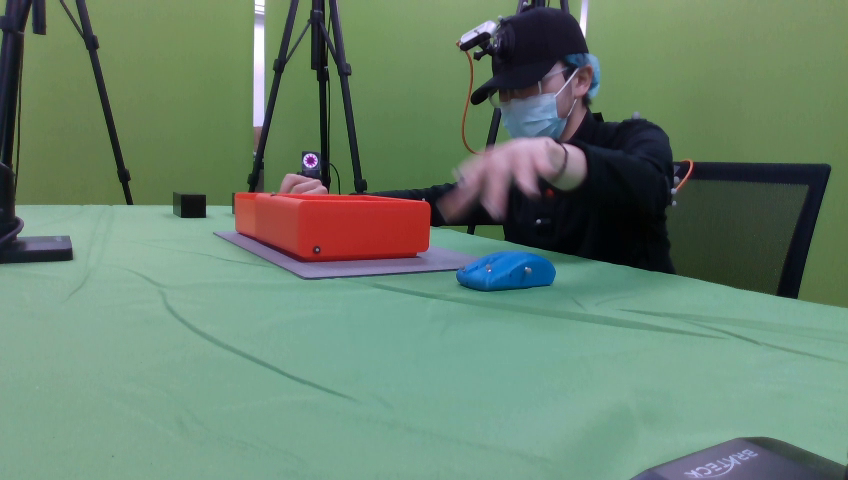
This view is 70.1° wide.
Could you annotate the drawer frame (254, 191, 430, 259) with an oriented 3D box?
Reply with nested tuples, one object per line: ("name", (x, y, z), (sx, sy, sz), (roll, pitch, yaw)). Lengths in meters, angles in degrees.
("drawer frame", (-0.129, -0.029, 0.912), (0.203, 0.082, 0.212), (-1, 8, -31))

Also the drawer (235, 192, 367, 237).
("drawer", (-0.195, -0.041, 1.021), (0.195, 0.073, 0.210), (-1, 6, -32))

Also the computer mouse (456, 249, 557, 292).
("computer mouse", (0.098, 0.034, 0.709), (0.118, 0.041, 0.062), (-7, 12, -31))
